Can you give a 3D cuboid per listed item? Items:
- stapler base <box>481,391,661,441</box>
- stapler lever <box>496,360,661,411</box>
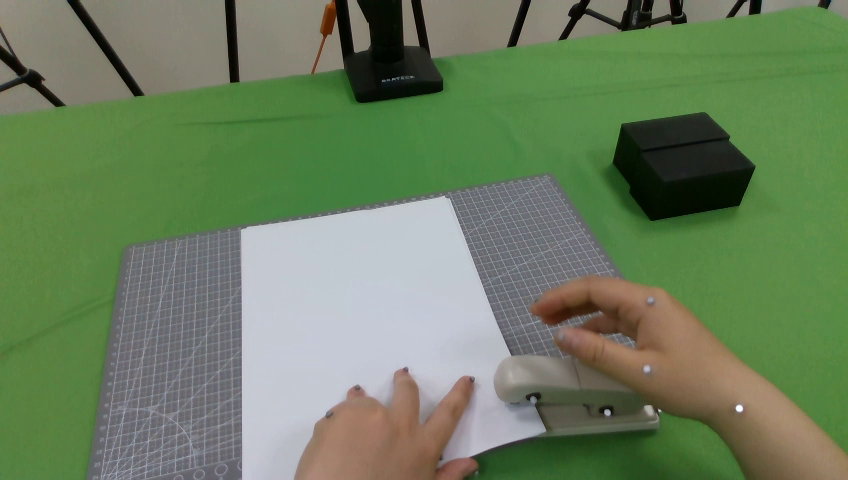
[{"bbox_3d":[0.109,0.121,0.446,0.131,0.024,0.041,-2,45,-4],"label":"stapler base"},{"bbox_3d":[0.110,0.103,0.430,0.118,0.040,0.026,-3,45,-4],"label":"stapler lever"}]
